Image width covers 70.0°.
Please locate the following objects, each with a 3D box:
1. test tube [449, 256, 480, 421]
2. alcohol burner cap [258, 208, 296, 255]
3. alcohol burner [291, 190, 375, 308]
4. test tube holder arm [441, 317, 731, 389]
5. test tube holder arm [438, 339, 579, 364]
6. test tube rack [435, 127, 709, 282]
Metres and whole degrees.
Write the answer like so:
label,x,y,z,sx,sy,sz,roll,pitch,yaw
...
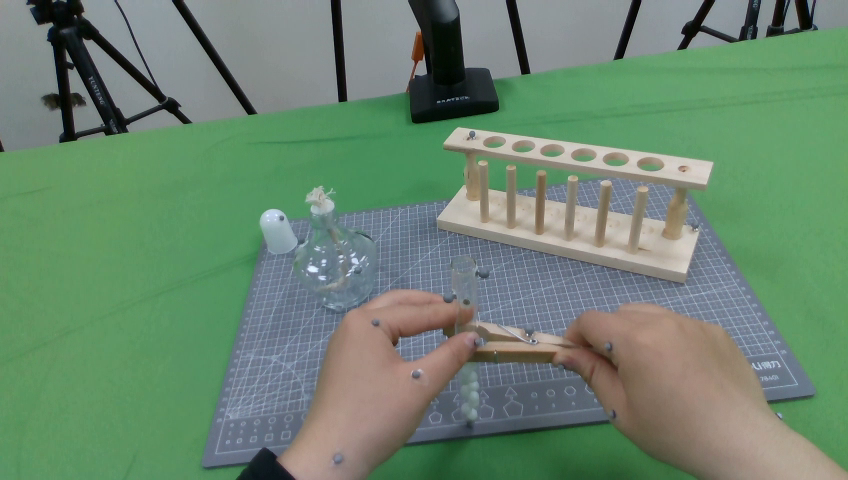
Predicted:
label,x,y,z,sx,sy,sz,roll,pitch,yaw
test tube,0.027,0.070,0.395,0.017,0.151,0.017,-3,40,3
alcohol burner cap,-0.155,-0.012,0.631,0.034,0.048,0.033,-5,41,4
alcohol burner,-0.085,0.004,0.541,0.078,0.120,0.077,-5,41,4
test tube holder arm,0.098,0.070,0.383,0.178,0.015,0.013,8,51,11
test tube holder arm,0.053,0.071,0.385,0.088,0.015,0.010,-2,49,2
test tube rack,0.127,-0.039,0.571,0.241,0.086,0.066,13,45,26
